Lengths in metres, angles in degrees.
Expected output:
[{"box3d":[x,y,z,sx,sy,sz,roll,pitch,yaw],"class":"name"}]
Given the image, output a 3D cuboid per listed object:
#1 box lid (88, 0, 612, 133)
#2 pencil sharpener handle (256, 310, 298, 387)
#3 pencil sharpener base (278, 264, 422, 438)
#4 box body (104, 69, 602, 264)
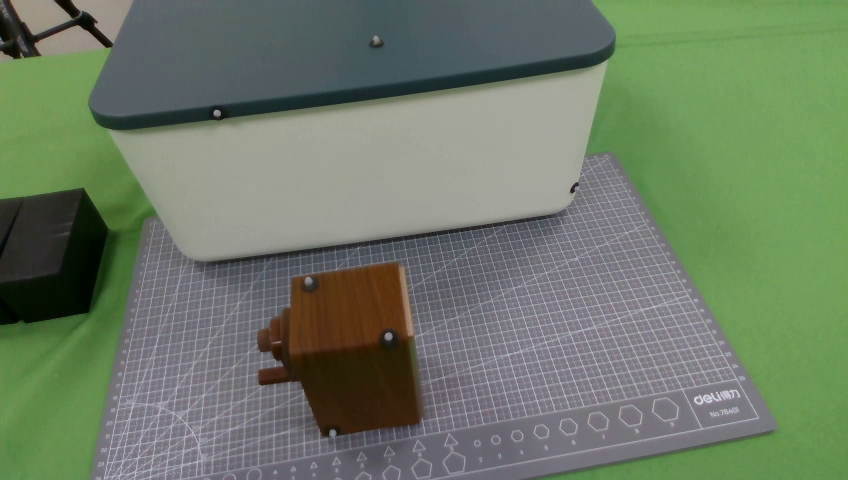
[{"box3d":[-0.062,-0.184,0.495,0.372,0.015,0.260,-8,45,-4],"class":"box lid"},{"box3d":[-0.096,0.072,0.377,0.031,0.068,0.035,-8,49,-3],"class":"pencil sharpener handle"},{"box3d":[-0.045,0.074,0.389,0.077,0.108,0.060,-8,47,-3],"class":"pencil sharpener base"},{"box3d":[-0.056,-0.132,0.549,0.364,0.162,0.251,-8,46,-4],"class":"box body"}]
